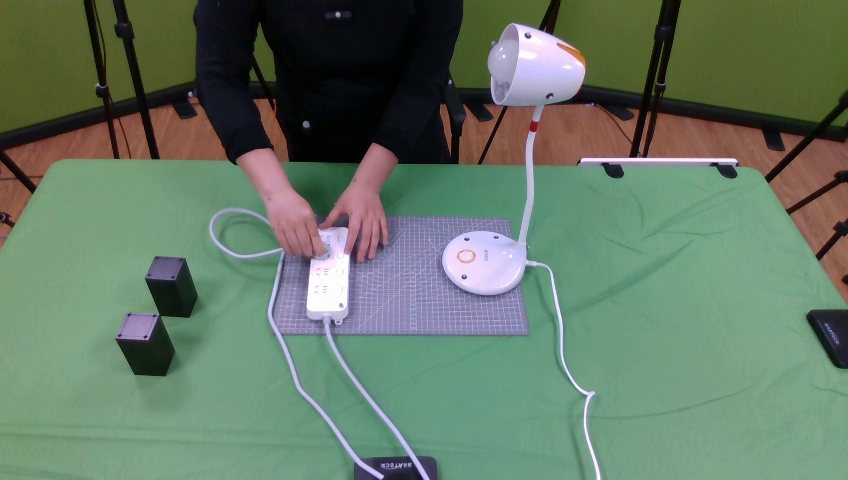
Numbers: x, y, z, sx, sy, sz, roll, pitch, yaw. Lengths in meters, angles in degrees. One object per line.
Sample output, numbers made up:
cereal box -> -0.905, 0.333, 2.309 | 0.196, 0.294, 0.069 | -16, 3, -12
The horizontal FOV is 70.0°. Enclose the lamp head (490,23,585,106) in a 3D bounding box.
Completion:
lamp head -> 0.165, -0.241, 0.872 | 0.123, 0.113, 0.111 | 9, 43, -17

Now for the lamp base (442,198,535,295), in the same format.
lamp base -> 0.130, -0.012, 1.104 | 0.179, 0.181, 0.159 | -1, 46, -9

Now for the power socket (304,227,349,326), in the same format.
power socket -> -0.177, 0.058, 1.116 | 0.072, 0.033, 0.225 | -1, 46, -4

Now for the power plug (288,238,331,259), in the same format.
power plug -> -0.208, 0.017, 1.121 | 0.072, 0.053, 0.035 | 8, 47, 9

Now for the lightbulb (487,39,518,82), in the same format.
lightbulb -> 0.143, -0.252, 0.865 | 0.108, 0.060, 0.059 | 9, 45, -7
